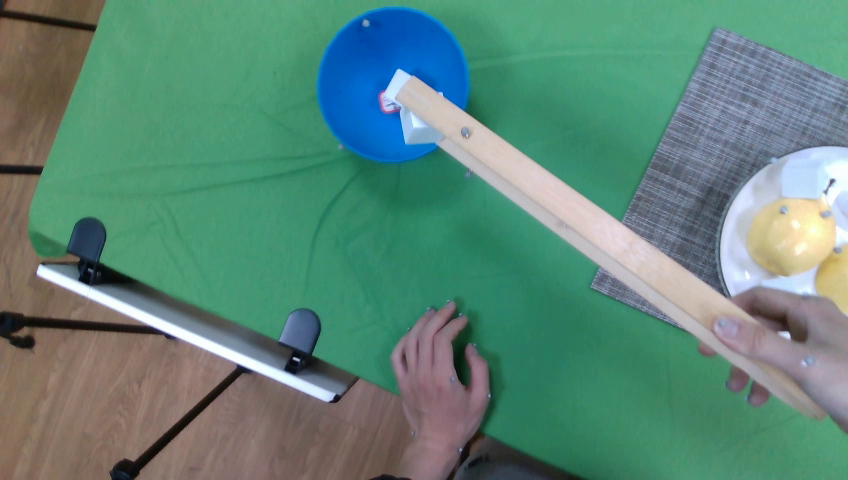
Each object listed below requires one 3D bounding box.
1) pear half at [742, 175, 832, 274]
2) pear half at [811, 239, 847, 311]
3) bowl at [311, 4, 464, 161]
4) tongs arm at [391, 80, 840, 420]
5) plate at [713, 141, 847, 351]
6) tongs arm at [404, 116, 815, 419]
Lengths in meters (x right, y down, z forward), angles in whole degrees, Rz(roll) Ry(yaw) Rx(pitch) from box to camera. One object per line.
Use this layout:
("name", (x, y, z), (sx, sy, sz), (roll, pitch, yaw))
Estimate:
("pear half", (0.372, -0.022, 0.596), (0.076, 0.056, 0.110), (34, 90, 0))
("pear half", (0.435, 0.033, 0.601), (0.088, 0.031, 0.070), (-34, 91, 11))
("bowl", (-0.033, -0.152, 0.625), (0.151, 0.077, 0.151), (0, 92, 5))
("tongs arm", (0.126, -0.004, 0.445), (0.385, 0.028, 0.028), (38, 87, 14))
("plate", (0.395, 0.006, 0.609), (0.207, 0.039, 0.207), (0, 91, 5))
("tongs arm", (0.132, 0.000, 0.471), (0.383, 0.051, 0.026), (38, 90, 10))
